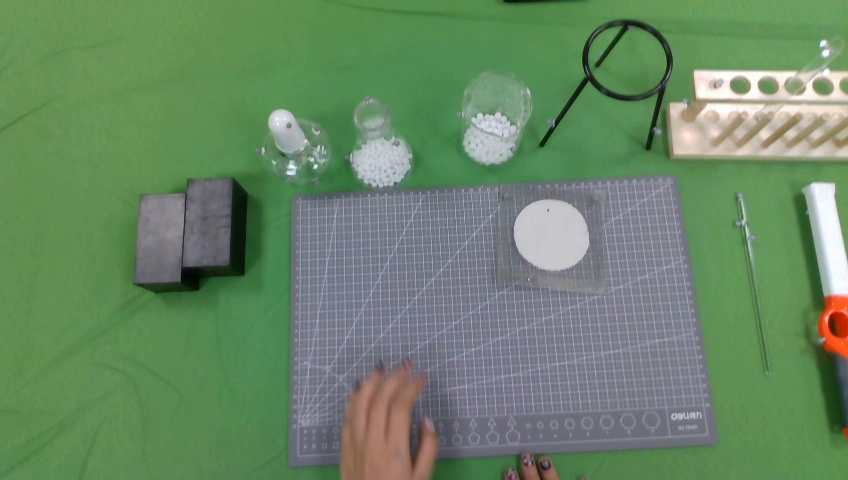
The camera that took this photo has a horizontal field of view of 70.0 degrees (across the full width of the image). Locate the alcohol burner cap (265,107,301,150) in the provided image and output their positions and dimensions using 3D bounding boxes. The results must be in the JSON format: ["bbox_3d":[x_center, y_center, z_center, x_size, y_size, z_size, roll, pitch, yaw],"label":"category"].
[{"bbox_3d":[-0.149,-0.119,0.632,0.034,0.048,0.033,0,69,0],"label":"alcohol burner cap"}]

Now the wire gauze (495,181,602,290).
[{"bbox_3d":[0.143,-0.008,0.689,0.125,0.011,0.121,5,76,-1],"label":"wire gauze"}]

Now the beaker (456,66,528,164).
[{"bbox_3d":[0.074,-0.132,0.678,0.074,0.101,0.083,-21,76,-4],"label":"beaker"}]

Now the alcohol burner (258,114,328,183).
[{"bbox_3d":[-0.148,-0.108,0.666,0.078,0.119,0.077,-1,76,3],"label":"alcohol burner"}]

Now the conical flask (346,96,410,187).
[{"bbox_3d":[-0.054,-0.111,0.662,0.075,0.122,0.075,0,75,1],"label":"conical flask"}]

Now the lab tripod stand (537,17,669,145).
[{"bbox_3d":[0.199,-0.165,0.667,0.148,0.132,0.147,0,78,1],"label":"lab tripod stand"}]

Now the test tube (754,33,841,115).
[{"bbox_3d":[0.388,-0.168,0.639,0.017,0.151,0.017,-1,75,4],"label":"test tube"}]

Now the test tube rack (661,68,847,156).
[{"bbox_3d":[0.406,-0.142,0.683,0.242,0.085,0.066,0,75,1],"label":"test tube rack"}]

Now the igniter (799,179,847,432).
[{"bbox_3d":[0.449,0.065,0.660,0.057,0.025,0.275,1,76,-9],"label":"igniter"}]

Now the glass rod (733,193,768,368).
[{"bbox_3d":[0.364,0.042,0.676,0.008,0.008,0.198,-2,75,0],"label":"glass rod"}]
